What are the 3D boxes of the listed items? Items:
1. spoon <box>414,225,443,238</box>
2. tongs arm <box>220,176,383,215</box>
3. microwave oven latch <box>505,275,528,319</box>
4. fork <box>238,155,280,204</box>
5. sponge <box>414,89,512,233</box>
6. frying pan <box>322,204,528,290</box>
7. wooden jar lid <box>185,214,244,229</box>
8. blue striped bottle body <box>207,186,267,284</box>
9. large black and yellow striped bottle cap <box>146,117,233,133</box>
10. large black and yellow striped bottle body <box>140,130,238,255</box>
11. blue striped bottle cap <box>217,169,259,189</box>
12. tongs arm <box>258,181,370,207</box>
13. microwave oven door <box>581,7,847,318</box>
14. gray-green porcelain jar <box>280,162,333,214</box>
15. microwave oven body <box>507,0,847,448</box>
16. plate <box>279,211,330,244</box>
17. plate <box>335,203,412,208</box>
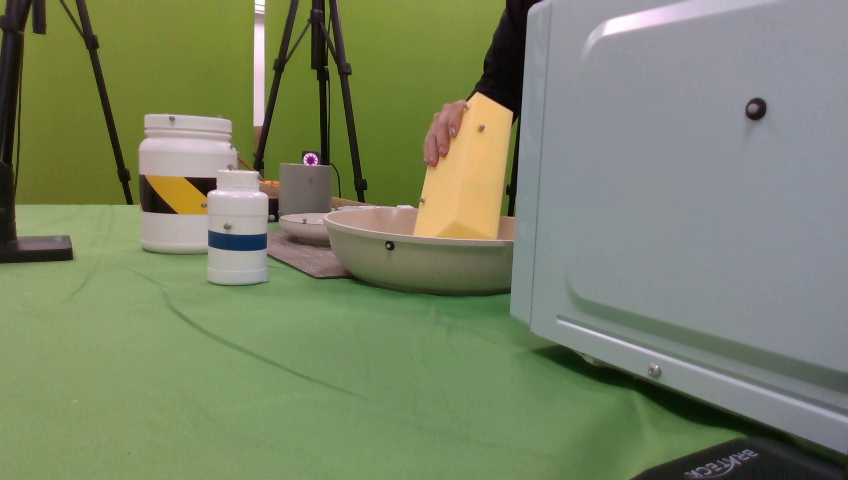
[{"bbox_3d":[0.017,-0.020,1.113,0.041,0.021,0.194,-14,3,11],"label":"spoon"},{"bbox_3d":[-0.285,-0.104,1.445,0.389,0.027,0.028,9,-4,-23],"label":"tongs arm"},{"bbox_3d":[0.100,0.042,0.471,0.079,0.029,0.030,-1,7,-28],"label":"microwave oven latch"},{"bbox_3d":[-0.396,-0.143,1.486,0.028,0.018,0.208,20,-26,45],"label":"fork"},{"bbox_3d":[0.049,-0.079,0.785,0.061,0.206,0.118,23,-34,-19],"label":"sponge"},{"bbox_3d":[0.109,-0.018,0.800,0.490,0.102,0.305,-12,16,-30],"label":"frying pan"},{"bbox_3d":[-0.404,-0.037,1.169,0.108,0.020,0.108,3,7,0],"label":"wooden jar lid"},{"bbox_3d":[-0.204,-0.016,0.663,0.063,0.120,0.063,2,7,0],"label":"blue striped bottle body"},{"bbox_3d":[-0.332,-0.163,0.860,0.115,0.019,0.115,1,9,0],"label":"large black and yellow striped bottle cap"},{"bbox_3d":[-0.336,-0.078,0.871,0.131,0.184,0.130,2,8,0],"label":"large black and yellow striped bottle body"},{"bbox_3d":[-0.202,-0.067,0.656,0.044,0.020,0.044,0,10,0],"label":"blue striped bottle cap"},{"bbox_3d":[-0.241,-0.095,1.373,0.387,0.026,0.050,9,0,-37],"label":"tongs arm"},{"bbox_3d":[0.295,-0.067,0.569,0.358,0.243,0.039,-3,8,-31],"label":"microwave oven door"},{"bbox_3d":[-0.238,-0.092,1.221,0.106,0.126,0.106,2,7,0],"label":"gray-green porcelain jar"},{"bbox_3d":[0.331,-0.042,0.425,0.444,0.260,0.324,-2,8,-31],"label":"microwave oven body"},{"bbox_3d":[-0.139,-0.022,1.021,0.209,0.038,0.209,2,8,0],"label":"plate"},{"bbox_3d":[-0.089,-0.053,1.309,0.208,0.039,0.207,2,8,0],"label":"plate"}]
